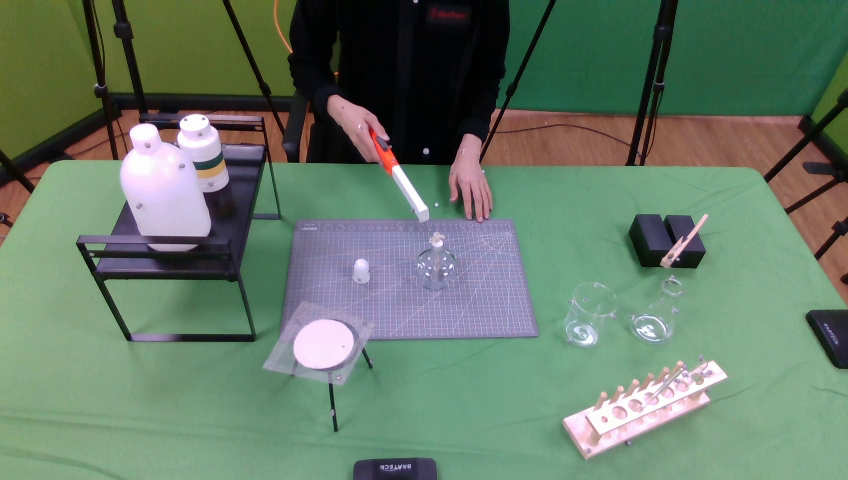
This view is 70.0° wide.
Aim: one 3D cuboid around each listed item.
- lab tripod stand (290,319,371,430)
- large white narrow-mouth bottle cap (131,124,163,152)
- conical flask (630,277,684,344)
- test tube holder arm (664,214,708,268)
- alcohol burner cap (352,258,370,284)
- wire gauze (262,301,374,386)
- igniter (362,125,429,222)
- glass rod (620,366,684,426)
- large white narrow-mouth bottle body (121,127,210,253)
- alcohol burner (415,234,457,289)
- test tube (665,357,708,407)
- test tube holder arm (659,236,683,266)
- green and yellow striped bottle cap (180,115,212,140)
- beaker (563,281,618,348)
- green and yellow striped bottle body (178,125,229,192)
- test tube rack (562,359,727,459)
[{"bbox_3d":[-0.146,0.193,0.923,0.148,0.132,0.147,1,47,-1],"label":"lab tripod stand"},{"bbox_3d":[-0.371,-0.138,0.813,0.038,0.024,0.037,3,46,-3],"label":"large white narrow-mouth bottle cap"},{"bbox_3d":[0.408,0.117,1.045,0.075,0.122,0.075,2,46,-2],"label":"conical flask"},{"bbox_3d":[0.507,-0.001,1.170,0.013,0.015,0.178,34,54,26],"label":"test tube holder arm"},{"bbox_3d":[-0.117,0.055,1.118,0.034,0.048,0.033,1,45,-1],"label":"alcohol burner cap"},{"bbox_3d":[-0.150,0.148,0.873,0.121,0.011,0.124,14,46,12],"label":"wire gauze"},{"bbox_3d":[-0.057,-0.133,1.122,0.025,0.057,0.274,-20,50,-15],"label":"igniter"},{"bbox_3d":[0.322,0.227,0.866,0.008,0.200,0.008,5,51,-7],"label":"glass rod"},{"bbox_3d":[-0.378,-0.078,0.875,0.102,0.195,0.101,3,46,-3],"label":"large white narrow-mouth bottle body"},{"bbox_3d":[0.022,0.033,1.099,0.078,0.120,0.077,1,47,-1],"label":"alcohol burner"},{"bbox_3d":[0.387,0.216,0.905,0.017,0.151,0.017,1,53,-1],"label":"test tube"},{"bbox_3d":[0.472,0.020,1.149,0.010,0.015,0.088,35,54,27],"label":"test tube holder arm"},{"bbox_3d":[-0.358,-0.177,0.951,0.045,0.020,0.045,2,45,-1],"label":"green and yellow striped bottle cap"},{"bbox_3d":[0.283,0.129,1.041,0.074,0.101,0.083,11,46,6],"label":"beaker"},{"bbox_3d":[-0.361,-0.142,0.989,0.063,0.120,0.063,2,46,-2],"label":"green and yellow striped bottle body"},{"bbox_3d":[0.341,0.247,0.940,0.243,0.085,0.066,-16,49,-19],"label":"test tube rack"}]
